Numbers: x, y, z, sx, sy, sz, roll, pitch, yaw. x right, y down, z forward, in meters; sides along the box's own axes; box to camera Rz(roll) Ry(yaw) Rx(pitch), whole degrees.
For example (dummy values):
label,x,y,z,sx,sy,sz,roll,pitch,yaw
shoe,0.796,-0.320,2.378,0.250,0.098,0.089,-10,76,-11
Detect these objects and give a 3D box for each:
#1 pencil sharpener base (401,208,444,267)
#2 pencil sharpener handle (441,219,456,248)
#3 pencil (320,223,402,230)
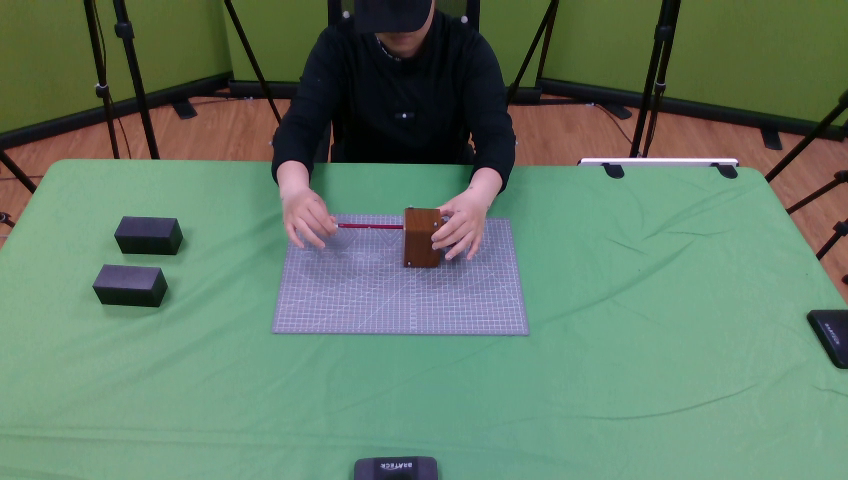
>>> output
label,x,y,z,sx,sy,sz,roll,pitch,yaw
pencil sharpener base,-0.004,-0.003,1.137,0.077,0.107,0.061,1,45,-4
pencil sharpener handle,0.047,-0.010,1.132,0.031,0.068,0.036,1,44,-4
pencil,-0.093,-0.024,1.114,0.194,0.012,0.012,2,45,-7
